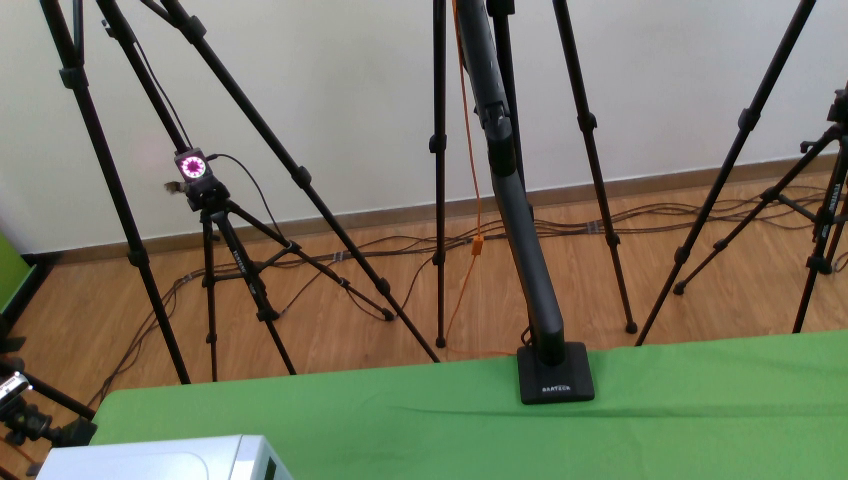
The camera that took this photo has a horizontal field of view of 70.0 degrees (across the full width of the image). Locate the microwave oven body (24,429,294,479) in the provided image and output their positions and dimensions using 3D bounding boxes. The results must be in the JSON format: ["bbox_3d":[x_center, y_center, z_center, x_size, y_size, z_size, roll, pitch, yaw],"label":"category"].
[{"bbox_3d":[-0.347,0.486,0.702,0.326,0.263,0.437,-6,43,7],"label":"microwave oven body"}]
